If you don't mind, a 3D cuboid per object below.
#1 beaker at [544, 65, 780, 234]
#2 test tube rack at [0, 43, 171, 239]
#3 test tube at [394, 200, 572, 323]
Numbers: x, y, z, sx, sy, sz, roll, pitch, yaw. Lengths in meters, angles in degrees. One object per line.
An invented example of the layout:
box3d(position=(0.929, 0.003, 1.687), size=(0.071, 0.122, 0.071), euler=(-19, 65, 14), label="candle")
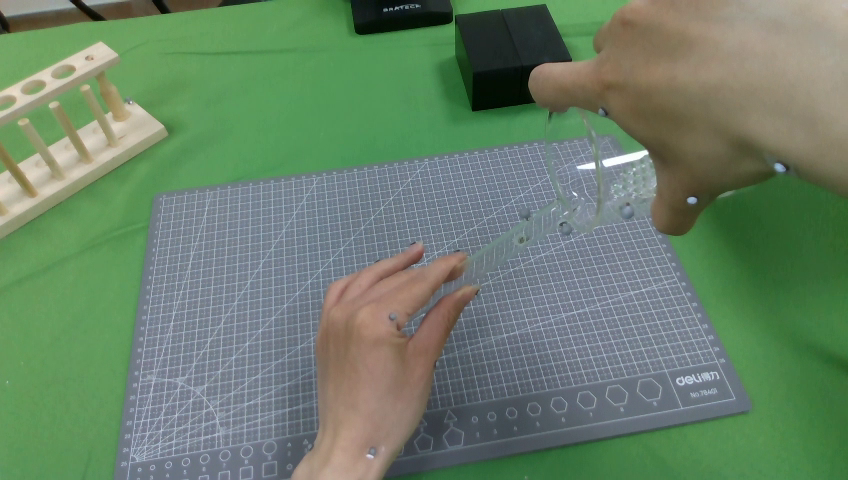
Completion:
box3d(position=(0.125, -0.048, 0.325), size=(0.100, 0.085, 0.073), euler=(-13, 57, -4), label="beaker")
box3d(position=(-0.371, -0.079, 0.560), size=(0.066, 0.086, 0.242), euler=(36, 62, 26), label="test tube rack")
box3d(position=(0.032, 0.018, 0.394), size=(0.150, 0.017, 0.017), euler=(-36, 43, 33), label="test tube")
